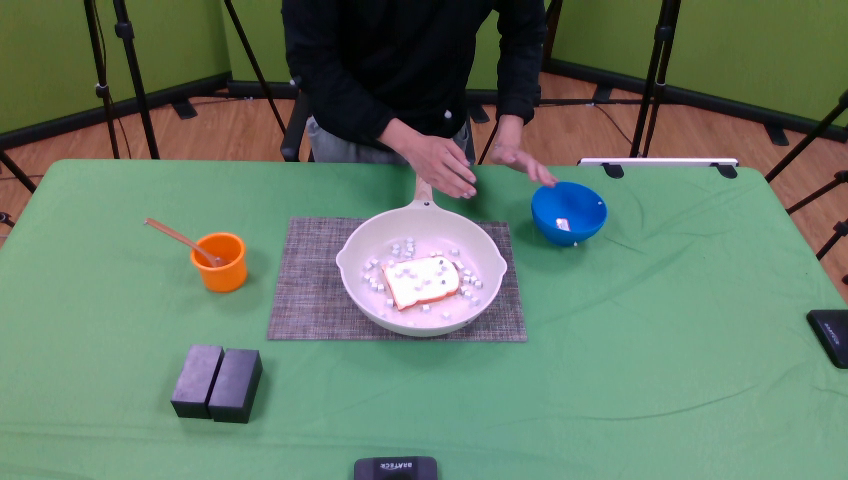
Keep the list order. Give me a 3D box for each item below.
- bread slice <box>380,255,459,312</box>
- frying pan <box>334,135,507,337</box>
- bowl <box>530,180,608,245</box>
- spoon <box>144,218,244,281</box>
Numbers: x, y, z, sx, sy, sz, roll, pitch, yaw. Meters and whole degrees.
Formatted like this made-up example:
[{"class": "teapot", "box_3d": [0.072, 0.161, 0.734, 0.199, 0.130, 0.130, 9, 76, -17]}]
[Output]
[{"class": "bread slice", "box_3d": [-0.005, 0.074, 1.119, 0.134, 0.018, 0.106, -16, 50, -16]}, {"class": "frying pan", "box_3d": [-0.004, -0.026, 1.160, 0.307, 0.103, 0.485, 4, 55, -2]}, {"class": "bowl", "box_3d": [0.284, -0.044, 1.222, 0.151, 0.077, 0.150, 2, 46, -2]}, {"class": "spoon", "box_3d": [-0.401, 0.016, 1.064, 0.195, 0.021, 0.041, 41, 36, -29]}]
